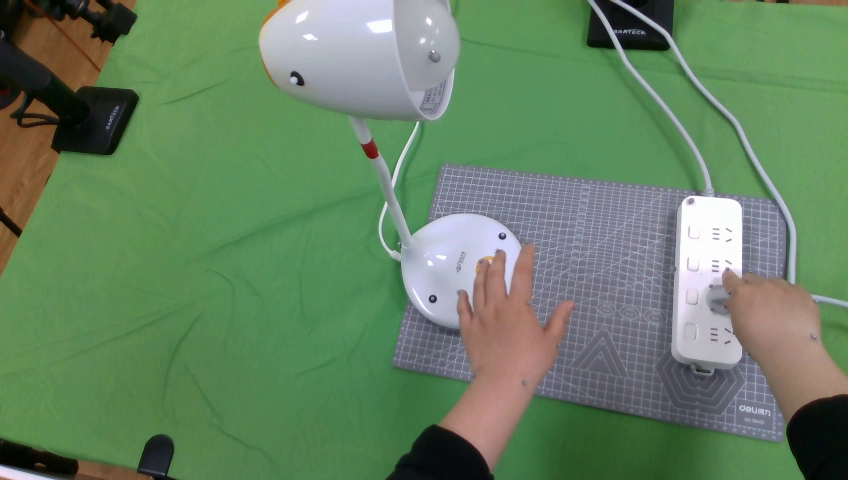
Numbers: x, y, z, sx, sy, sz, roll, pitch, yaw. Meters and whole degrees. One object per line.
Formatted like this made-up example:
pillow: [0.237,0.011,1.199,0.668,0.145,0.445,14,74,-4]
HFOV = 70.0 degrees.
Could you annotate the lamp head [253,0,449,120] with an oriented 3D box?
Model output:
lamp head: [-0.052,-0.133,0.423,0.122,0.113,0.111,-3,65,25]

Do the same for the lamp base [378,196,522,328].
lamp base: [0.020,0.004,0.715,0.179,0.182,0.159,2,66,14]

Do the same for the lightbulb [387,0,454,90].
lightbulb: [-0.032,-0.132,0.407,0.107,0.060,0.059,7,67,22]

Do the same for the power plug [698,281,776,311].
power plug: [0.352,0.070,0.691,0.072,0.053,0.035,20,71,12]

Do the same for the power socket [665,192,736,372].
power socket: [0.332,0.043,0.726,0.072,0.033,0.225,7,68,12]
